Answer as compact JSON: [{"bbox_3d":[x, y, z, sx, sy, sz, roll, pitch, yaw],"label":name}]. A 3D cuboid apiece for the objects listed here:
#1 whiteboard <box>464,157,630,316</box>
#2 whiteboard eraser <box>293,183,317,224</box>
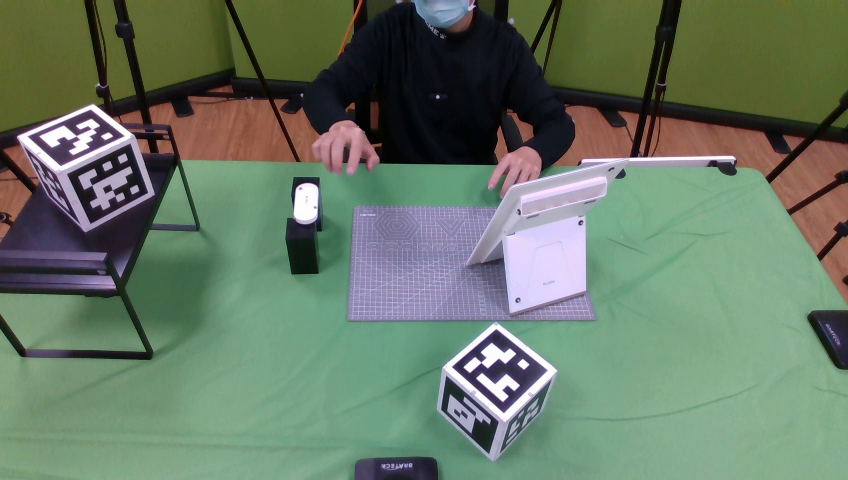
[{"bbox_3d":[0.224,0.014,1.043,0.217,0.306,0.143,-14,68,-17],"label":"whiteboard"},{"bbox_3d":[-0.217,-0.068,1.109,0.041,0.019,0.100,-2,46,-4],"label":"whiteboard eraser"}]
